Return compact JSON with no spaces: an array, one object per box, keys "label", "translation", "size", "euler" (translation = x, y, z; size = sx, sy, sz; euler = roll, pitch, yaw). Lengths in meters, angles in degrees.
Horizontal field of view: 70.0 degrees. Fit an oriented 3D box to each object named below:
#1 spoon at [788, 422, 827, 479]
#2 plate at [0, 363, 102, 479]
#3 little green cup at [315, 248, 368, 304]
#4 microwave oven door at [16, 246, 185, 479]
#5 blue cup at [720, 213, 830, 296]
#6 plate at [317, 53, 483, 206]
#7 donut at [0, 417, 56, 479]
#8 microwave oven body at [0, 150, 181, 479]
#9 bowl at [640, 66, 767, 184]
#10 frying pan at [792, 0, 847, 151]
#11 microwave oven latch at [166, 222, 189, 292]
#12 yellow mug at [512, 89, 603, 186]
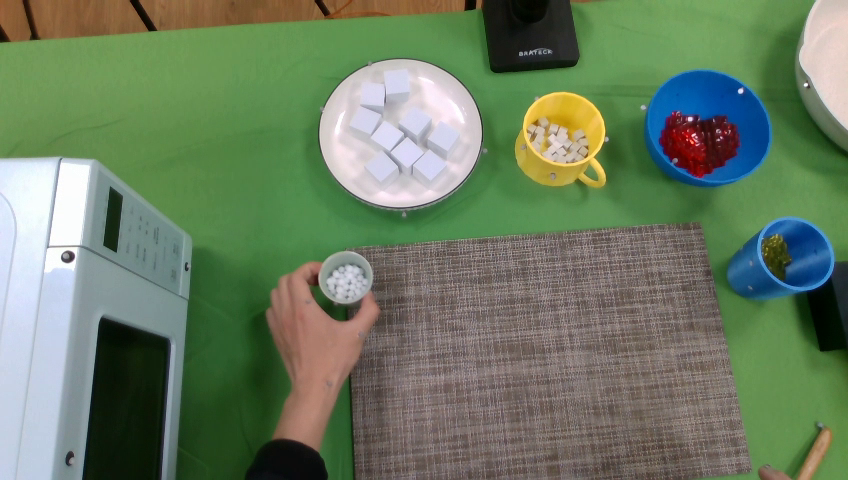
[{"label":"spoon","translation":[0.406,0.283,0.679],"size":[0.041,0.022,0.193],"euler":[37,77,21]},{"label":"plate","translation":[-0.422,0.228,0.601],"size":[0.209,0.038,0.208],"euler":[1,77,-2]},{"label":"little green cup","translation":[-0.092,0.044,0.695],"size":[0.061,0.039,0.061],"euler":[0,72,0]},{"label":"microwave oven door","translation":[-0.287,0.204,0.551],"size":[0.039,0.245,0.353],"euler":[-2,75,-1]},{"label":"blue cup","translation":[0.399,0.025,0.707],"size":[0.093,0.100,0.092],"euler":[1,73,-2]},{"label":"plate","translation":[-0.030,-0.138,0.773],"size":[0.208,0.039,0.206],"euler":[0,75,-1]},{"label":"donut","translation":[-0.411,0.223,0.589],"size":[0.099,0.048,0.098],"euler":[1,76,-4]},{"label":"microwave oven body","translation":[-0.434,0.168,0.562],"size":[0.326,0.261,0.439],"euler":[-1,76,-2]},{"label":"bowl","translation":[0.335,-0.131,0.760],"size":[0.151,0.077,0.150],"euler":[0,75,-1]},{"label":"frying pan","translation":[0.620,-0.127,0.751],"size":[0.307,0.103,0.484],"euler":[1,67,0]},{"label":"microwave oven latch","translation":[-0.292,0.020,0.705],"size":[0.030,0.029,0.078],"euler":[0,76,-2]},{"label":"yellow mug","translation":[0.176,-0.118,0.759],"size":[0.100,0.064,0.130],"euler":[-41,80,-11]}]
